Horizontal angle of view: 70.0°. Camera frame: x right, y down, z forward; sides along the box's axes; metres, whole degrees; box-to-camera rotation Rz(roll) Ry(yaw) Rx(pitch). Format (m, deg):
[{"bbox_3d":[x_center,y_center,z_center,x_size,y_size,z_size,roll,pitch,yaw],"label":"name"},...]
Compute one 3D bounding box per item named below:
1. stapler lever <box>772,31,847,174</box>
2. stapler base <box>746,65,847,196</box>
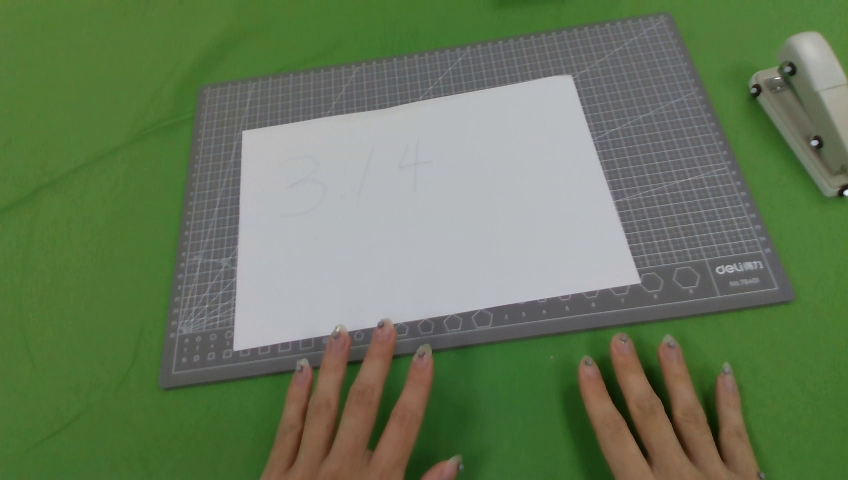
[{"bbox_3d":[0.300,-0.106,0.453,0.027,0.040,0.117,-16,61,2],"label":"stapler lever"},{"bbox_3d":[0.303,-0.095,0.476,0.041,0.024,0.129,-16,61,1],"label":"stapler base"}]
